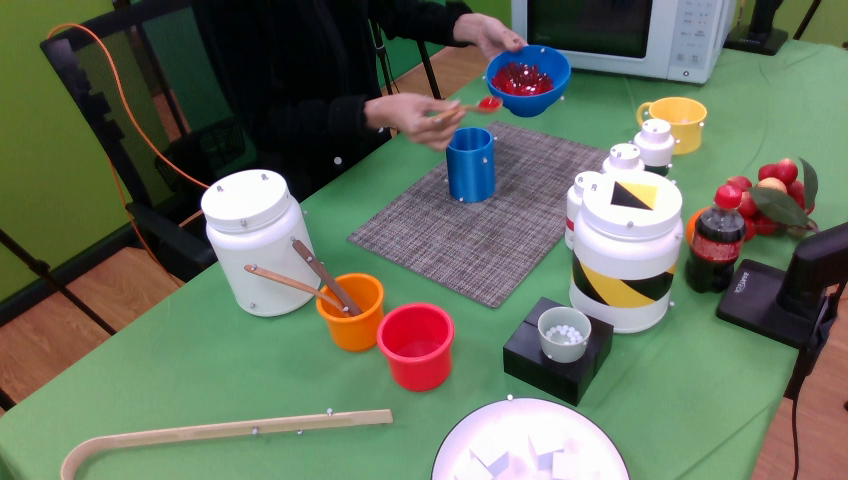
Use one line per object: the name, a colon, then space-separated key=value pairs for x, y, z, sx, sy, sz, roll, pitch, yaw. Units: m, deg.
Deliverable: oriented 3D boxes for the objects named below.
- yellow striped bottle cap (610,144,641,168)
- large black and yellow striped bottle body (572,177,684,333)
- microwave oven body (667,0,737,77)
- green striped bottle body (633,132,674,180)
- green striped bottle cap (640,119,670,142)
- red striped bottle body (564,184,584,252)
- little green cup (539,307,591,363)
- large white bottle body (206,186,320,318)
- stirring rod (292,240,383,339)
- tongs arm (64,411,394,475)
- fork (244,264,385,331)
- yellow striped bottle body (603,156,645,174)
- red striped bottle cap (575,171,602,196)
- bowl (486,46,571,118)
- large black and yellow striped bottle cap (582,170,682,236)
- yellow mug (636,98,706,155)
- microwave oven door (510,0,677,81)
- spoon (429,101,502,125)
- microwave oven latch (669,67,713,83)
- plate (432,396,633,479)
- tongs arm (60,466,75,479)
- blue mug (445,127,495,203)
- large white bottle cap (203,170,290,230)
yellow striped bottle cap: x=0.307 y=-0.128 z=0.923 sx=0.044 sy=0.019 sz=0.044 roll=-6 pitch=39 yaw=5
large black and yellow striped bottle body: x=0.262 y=0.017 z=0.788 sx=0.131 sy=0.185 sz=0.130 roll=-5 pitch=40 yaw=4
microwave oven body: x=0.462 y=-0.552 z=1.369 sx=0.439 sy=0.261 sz=0.326 roll=15 pitch=45 yaw=26
green striped bottle body: x=0.376 y=-0.135 z=1.001 sx=0.063 sy=0.120 sz=0.063 roll=-5 pitch=40 yaw=5
green striped bottle cap: x=0.371 y=-0.175 z=0.968 sx=0.044 sy=0.020 sz=0.044 roll=-4 pitch=41 yaw=4
red striped bottle body: x=0.247 y=-0.041 z=0.910 sx=0.063 sy=0.120 sz=0.062 roll=-3 pitch=39 yaw=3
little green cup: x=0.167 y=0.114 z=0.721 sx=0.061 sy=0.039 sz=0.061 roll=-4 pitch=43 yaw=4
large white bottle body: x=-0.233 y=0.008 z=0.876 sx=0.130 sy=0.185 sz=0.130 roll=-4 pitch=40 yaw=4
stirring rod: x=-0.118 y=0.068 z=0.826 sx=0.176 sy=0.006 sz=0.014 roll=49 pitch=60 yaw=-4
tongs arm: x=-0.228 y=0.240 z=0.715 sx=0.385 sy=0.026 sz=0.050 roll=-4 pitch=43 yaw=5
fork: x=-0.142 y=0.078 z=0.806 sx=0.209 sy=0.018 sz=0.028 roll=30 pitch=34 yaw=-24
yellow striped bottle body: x=0.313 y=-0.089 z=0.955 sx=0.063 sy=0.121 sz=0.062 roll=-4 pitch=40 yaw=4
red striped bottle cap: x=0.242 y=-0.081 z=0.876 sx=0.044 sy=0.018 sz=0.044 roll=-5 pitch=44 yaw=5
bowl: x=0.189 y=-0.276 z=1.100 sx=0.151 sy=0.077 sz=0.150 roll=-5 pitch=50 yaw=6
large black and yellow striped bottle cap: x=0.252 y=-0.048 z=0.735 sx=0.115 sy=0.019 sz=0.114 roll=-3 pitch=40 yaw=3
yellow mug: x=0.453 y=-0.217 z=1.128 sx=0.100 sy=0.064 sz=0.129 roll=-34 pitch=45 yaw=-27
microwave oven door: x=0.354 y=-0.478 z=1.291 sx=0.353 sy=0.245 sz=0.039 roll=15 pitch=45 yaw=25
spoon: x=0.062 y=-0.195 z=0.923 sx=0.041 sy=0.021 sz=0.195 roll=18 pitch=24 yaw=31
microwave oven latch: x=0.556 y=-0.348 z=1.261 sx=0.078 sy=0.029 sz=0.030 roll=16 pitch=46 yaw=27
plate: x=0.112 y=0.261 z=0.634 sx=0.209 sy=0.038 sz=0.208 roll=-5 pitch=40 yaw=4
tongs arm: x=-0.239 y=0.301 z=0.649 sx=0.386 sy=0.028 sz=0.028 roll=6 pitch=49 yaw=17
blue mug: x=0.082 y=-0.140 z=1.059 sx=0.082 sy=0.106 sz=0.116 roll=-3 pitch=40 yaw=5
large white bottle cap: x=-0.241 y=-0.057 z=0.822 sx=0.115 sy=0.018 sz=0.114 roll=-4 pitch=41 yaw=4
